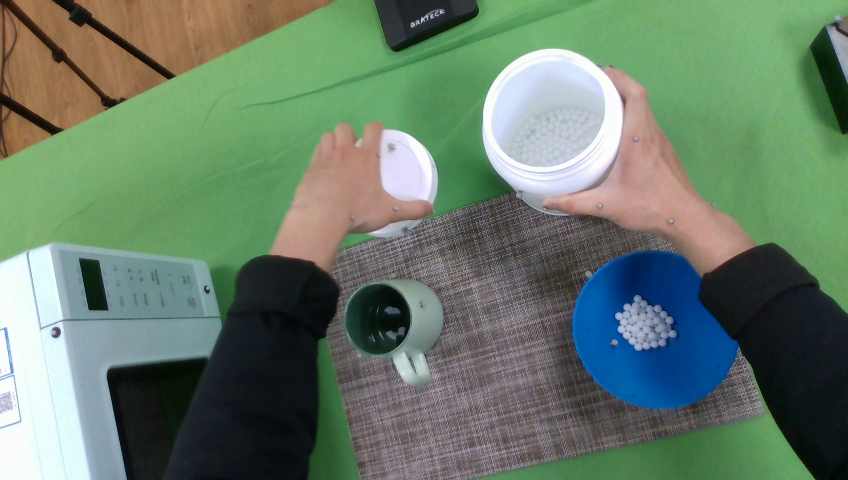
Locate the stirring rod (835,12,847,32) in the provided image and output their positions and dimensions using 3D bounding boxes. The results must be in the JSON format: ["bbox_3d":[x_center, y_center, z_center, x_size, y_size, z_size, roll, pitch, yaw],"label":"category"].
[{"bbox_3d":[0.455,-0.155,0.548,0.175,0.006,0.014,41,132,16],"label":"stirring rod"}]

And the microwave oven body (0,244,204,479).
[{"bbox_3d":[-0.405,0.268,0.693,0.325,0.261,0.439,-20,80,14],"label":"microwave oven body"}]

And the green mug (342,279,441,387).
[{"bbox_3d":[-0.028,0.103,0.674,0.092,0.105,0.124,-27,77,12],"label":"green mug"}]

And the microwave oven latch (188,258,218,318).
[{"bbox_3d":[-0.292,0.063,0.779,0.030,0.029,0.079,-20,80,14],"label":"microwave oven latch"}]

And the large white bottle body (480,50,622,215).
[{"bbox_3d":[0.129,-0.101,0.601,0.130,0.185,0.130,-2,84,18],"label":"large white bottle body"}]

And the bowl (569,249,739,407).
[{"bbox_3d":[0.227,0.086,0.610,0.151,0.077,0.151,-2,85,20],"label":"bowl"}]

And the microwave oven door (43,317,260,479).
[{"bbox_3d":[-0.262,0.259,0.645,0.039,0.245,0.354,-20,79,14],"label":"microwave oven door"}]

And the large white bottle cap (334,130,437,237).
[{"bbox_3d":[-0.043,-0.061,0.649,0.114,0.018,0.114,-3,81,19],"label":"large white bottle cap"}]
